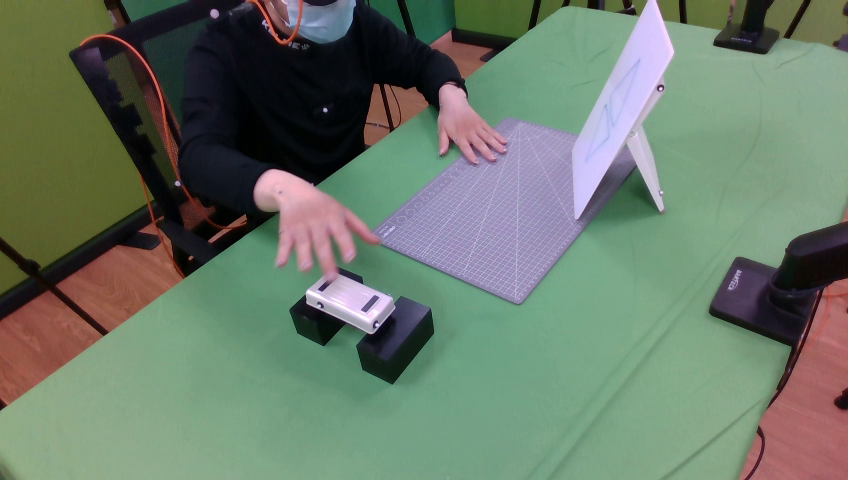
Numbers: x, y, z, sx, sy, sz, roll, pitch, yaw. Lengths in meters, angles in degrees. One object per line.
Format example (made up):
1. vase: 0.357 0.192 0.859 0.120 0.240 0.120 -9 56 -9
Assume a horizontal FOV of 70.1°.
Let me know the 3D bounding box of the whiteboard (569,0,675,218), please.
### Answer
1. whiteboard: 0.363 -0.187 0.965 0.144 0.305 0.216 18 42 -3

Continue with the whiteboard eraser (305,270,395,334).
1. whiteboard eraser: -0.098 0.083 0.799 0.112 0.042 0.056 20 44 26
